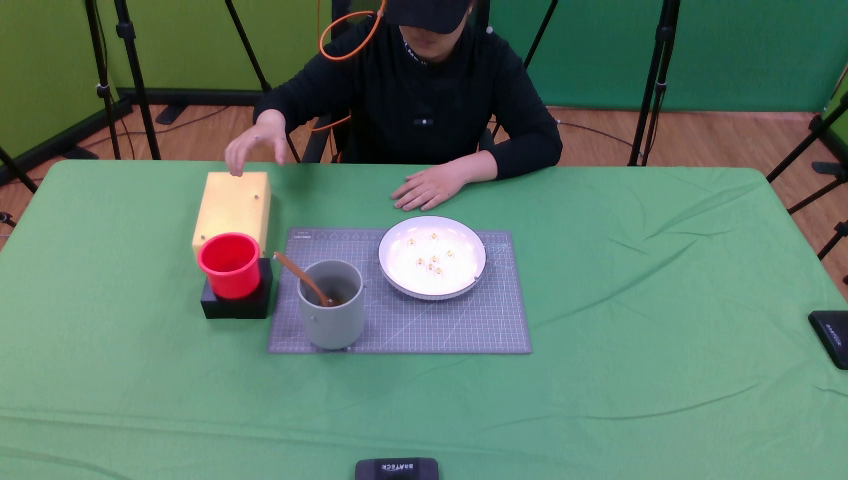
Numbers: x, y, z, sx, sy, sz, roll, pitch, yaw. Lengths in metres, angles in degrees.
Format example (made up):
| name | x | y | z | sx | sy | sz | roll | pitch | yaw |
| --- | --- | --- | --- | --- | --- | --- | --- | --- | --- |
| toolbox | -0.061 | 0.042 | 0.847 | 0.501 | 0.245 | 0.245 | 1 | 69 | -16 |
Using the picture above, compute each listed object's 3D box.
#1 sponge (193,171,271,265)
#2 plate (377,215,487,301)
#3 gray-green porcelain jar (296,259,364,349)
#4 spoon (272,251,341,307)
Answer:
| name | x | y | z | sx | sy | sz | roll | pitch | yaw |
| --- | --- | --- | --- | --- | --- | --- | --- | --- | --- |
| sponge | -0.371 | -0.047 | 1.189 | 0.118 | 0.061 | 0.205 | -3 | 47 | -6 |
| plate | 0.015 | 0.037 | 1.147 | 0.208 | 0.039 | 0.206 | 2 | 46 | -2 |
| gray-green porcelain jar | -0.152 | 0.111 | 1.003 | 0.106 | 0.127 | 0.105 | 2 | 46 | -2 |
| spoon | -0.180 | 0.077 | 0.982 | 0.021 | 0.195 | 0.041 | -8 | 46 | 28 |
